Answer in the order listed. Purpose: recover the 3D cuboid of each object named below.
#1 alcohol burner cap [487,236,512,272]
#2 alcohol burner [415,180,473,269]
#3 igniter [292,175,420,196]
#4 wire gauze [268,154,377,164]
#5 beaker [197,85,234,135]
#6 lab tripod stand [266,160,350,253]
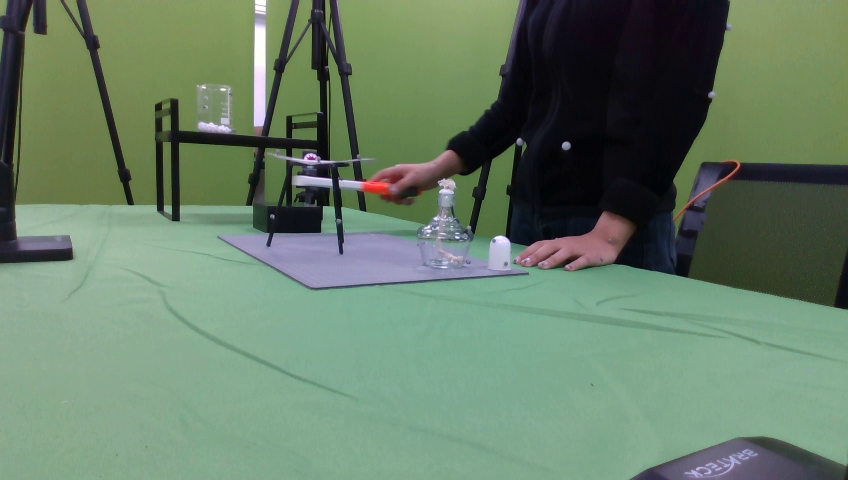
[{"bbox_3d":[0.101,0.019,0.802,0.034,0.048,0.034,2,7,0],"label":"alcohol burner cap"},{"bbox_3d":[0.028,-0.021,0.807,0.078,0.119,0.078,3,5,0],"label":"alcohol burner"},{"bbox_3d":[-0.124,-0.106,1.175,0.278,0.025,0.057,2,3,-39],"label":"igniter"},{"bbox_3d":[-0.154,-0.120,0.910,0.122,0.011,0.124,-5,11,-44],"label":"wire gauze"},{"bbox_3d":[-0.444,-0.275,1.283,0.074,0.100,0.084,5,8,22],"label":"beaker"},{"bbox_3d":[-0.163,-0.054,0.915,0.148,0.131,0.148,2,9,0],"label":"lab tripod stand"}]
